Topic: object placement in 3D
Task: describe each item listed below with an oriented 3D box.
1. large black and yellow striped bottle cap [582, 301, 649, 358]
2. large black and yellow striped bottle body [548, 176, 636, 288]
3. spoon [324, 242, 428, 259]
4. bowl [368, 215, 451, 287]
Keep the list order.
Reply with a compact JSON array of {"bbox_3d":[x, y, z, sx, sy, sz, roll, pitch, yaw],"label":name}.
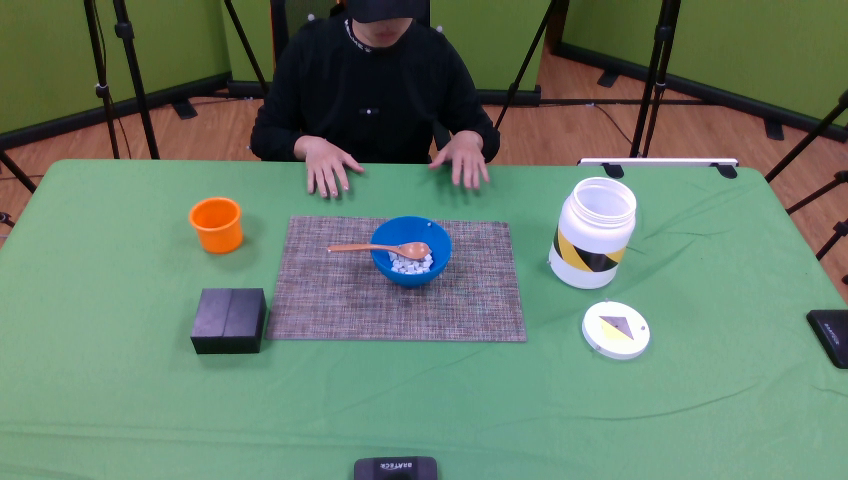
[{"bbox_3d":[0.340,0.157,1.077,0.115,0.019,0.114,1,47,-1],"label":"large black and yellow striped bottle cap"},{"bbox_3d":[0.310,-0.014,1.122,0.131,0.185,0.130,2,46,-2],"label":"large black and yellow striped bottle body"},{"bbox_3d":[-0.083,0.015,1.085,0.194,0.022,0.041,4,46,-26],"label":"spoon"},{"bbox_3d":[-0.028,0.033,1.119,0.151,0.077,0.150,2,46,-2],"label":"bowl"}]
